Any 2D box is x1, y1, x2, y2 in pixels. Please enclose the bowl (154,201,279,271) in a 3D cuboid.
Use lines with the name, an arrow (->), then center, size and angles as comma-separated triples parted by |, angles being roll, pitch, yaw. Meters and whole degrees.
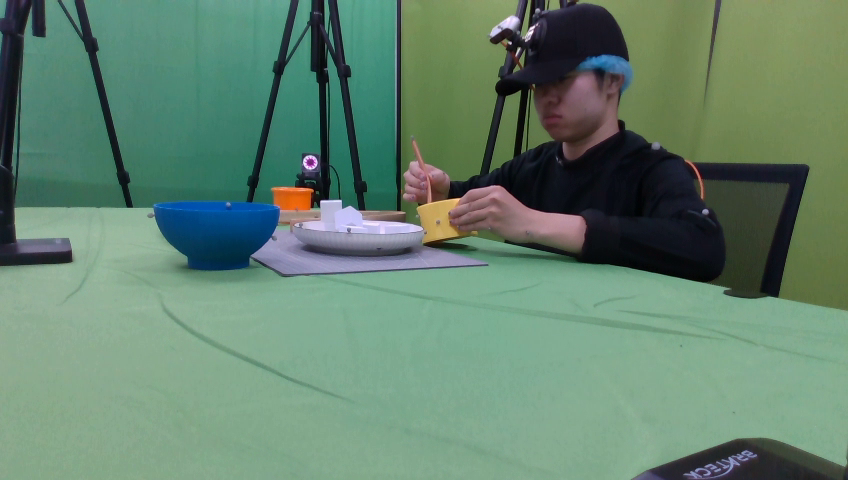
bowl -> -0.263, -0.005, 0.773 | 0.151, 0.077, 0.151 | 3, 8, 0

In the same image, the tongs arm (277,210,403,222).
tongs arm -> -0.206, -0.052, 1.332 | 0.387, 0.026, 0.050 | -2, 8, -44

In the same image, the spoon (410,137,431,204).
spoon -> 0.003, -0.095, 1.070 | 0.021, 0.193, 0.042 | -15, -15, 12

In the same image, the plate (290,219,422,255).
plate -> -0.108, -0.005, 0.963 | 0.208, 0.039, 0.207 | 3, 7, 0

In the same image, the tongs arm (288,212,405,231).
tongs arm -> -0.146, -0.040, 1.280 | 0.028, 0.028, 0.389 | 3, 5, 33

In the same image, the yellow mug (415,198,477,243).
yellow mug -> 0.047, -0.035, 1.045 | 0.100, 0.064, 0.130 | -8, -3, -32
